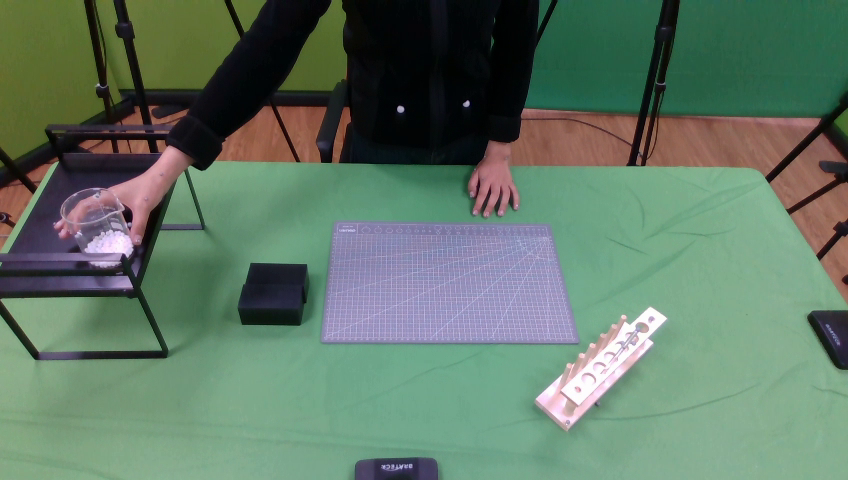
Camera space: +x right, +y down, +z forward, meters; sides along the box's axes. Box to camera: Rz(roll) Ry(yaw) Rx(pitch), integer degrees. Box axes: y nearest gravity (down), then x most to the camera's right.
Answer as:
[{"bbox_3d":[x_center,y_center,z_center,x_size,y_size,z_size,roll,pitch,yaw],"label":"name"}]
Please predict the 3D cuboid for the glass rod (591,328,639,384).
[{"bbox_3d":[0.279,0.182,0.902,0.008,0.200,0.008,5,52,-6],"label":"glass rod"}]

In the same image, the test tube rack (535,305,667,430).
[{"bbox_3d":[0.290,0.193,0.984,0.242,0.085,0.066,-32,56,-30],"label":"test tube rack"}]

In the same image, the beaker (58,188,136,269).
[{"bbox_3d":[-0.462,-0.014,0.871,0.084,0.101,0.073,0,47,-5],"label":"beaker"}]
